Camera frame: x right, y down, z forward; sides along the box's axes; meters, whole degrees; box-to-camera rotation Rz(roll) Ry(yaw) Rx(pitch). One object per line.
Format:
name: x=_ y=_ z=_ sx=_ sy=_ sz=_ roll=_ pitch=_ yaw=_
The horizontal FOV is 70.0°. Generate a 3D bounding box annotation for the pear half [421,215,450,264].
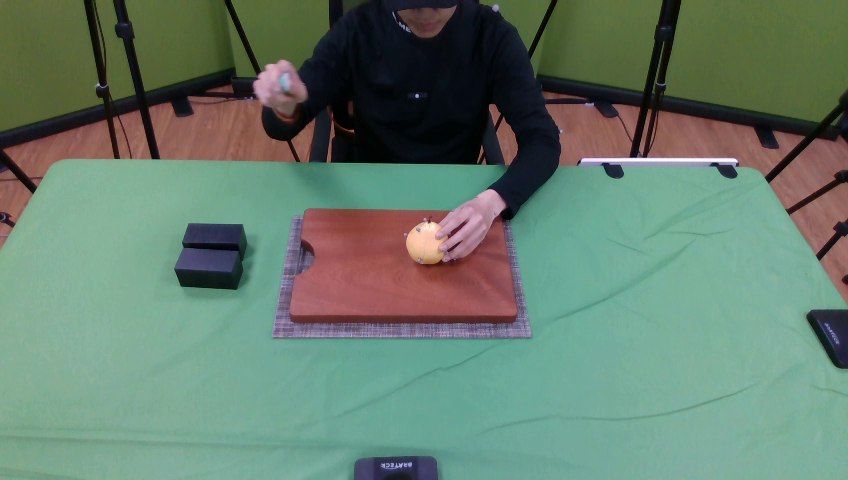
pear half: x=0.019 y=-0.006 z=1.101 sx=0.056 sy=0.110 sz=0.076 roll=-8 pitch=52 yaw=-11

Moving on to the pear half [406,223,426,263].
pear half: x=-0.016 y=0.003 z=1.103 sx=0.031 sy=0.088 sz=0.070 roll=-7 pitch=54 yaw=-11

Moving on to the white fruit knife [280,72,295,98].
white fruit knife: x=-0.224 y=-0.259 z=1.002 sx=0.016 sy=0.027 sz=0.206 roll=-19 pitch=12 yaw=-13
